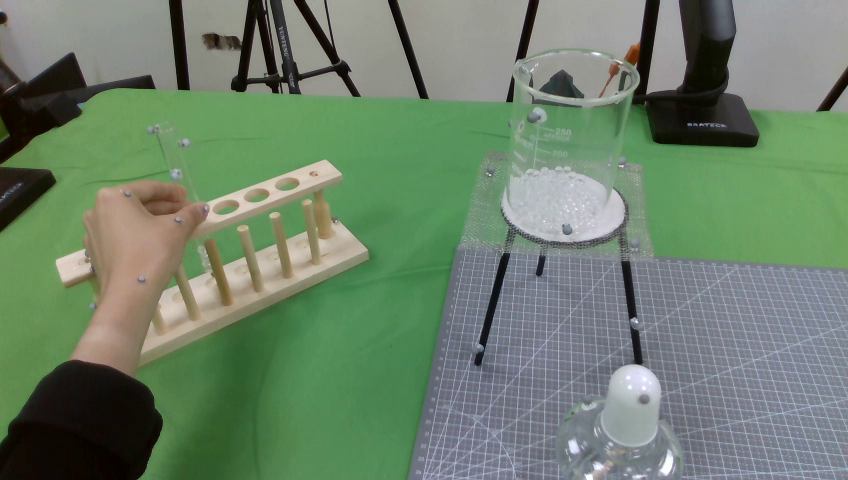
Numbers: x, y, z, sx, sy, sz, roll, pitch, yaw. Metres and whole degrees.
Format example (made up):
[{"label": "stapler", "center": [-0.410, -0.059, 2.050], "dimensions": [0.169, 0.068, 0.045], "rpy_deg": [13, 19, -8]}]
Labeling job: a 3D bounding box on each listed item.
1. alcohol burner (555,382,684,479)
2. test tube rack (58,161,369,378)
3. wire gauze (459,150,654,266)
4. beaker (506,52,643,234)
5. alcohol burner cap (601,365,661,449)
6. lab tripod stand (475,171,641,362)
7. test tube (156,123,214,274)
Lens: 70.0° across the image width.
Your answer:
[{"label": "alcohol burner", "center": [0.120, 0.120, 0.367], "dimensions": [0.078, 0.120, 0.077], "rpy_deg": [-2, 41, 2]}, {"label": "test tube rack", "center": [-0.174, 0.019, 0.540], "dimensions": [0.243, 0.086, 0.066], "rpy_deg": [-25, 44, -25]}, {"label": "wire gauze", "center": [0.094, -0.025, 0.426], "dimensions": [0.121, 0.011, 0.124], "rpy_deg": [6, 42, 11]}, {"label": "beaker", "center": [0.089, -0.061, 0.393], "dimensions": [0.074, 0.101, 0.083], "rpy_deg": [-28, 46, -29]}, {"label": "alcohol burner cap", "center": [0.119, 0.092, 0.344], "dimensions": [0.034, 0.048, 0.033], "rpy_deg": [-4, 38, 4]}, {"label": "lab tripod stand", "center": [0.106, 0.026, 0.468], "dimensions": [0.148, 0.132, 0.147], "rpy_deg": [-1, 39, 1]}, {"label": "test tube", "center": [-0.195, -0.028, 0.510], "dimensions": [0.017, 0.151, 0.017], "rpy_deg": [-1, 40, 1]}]
